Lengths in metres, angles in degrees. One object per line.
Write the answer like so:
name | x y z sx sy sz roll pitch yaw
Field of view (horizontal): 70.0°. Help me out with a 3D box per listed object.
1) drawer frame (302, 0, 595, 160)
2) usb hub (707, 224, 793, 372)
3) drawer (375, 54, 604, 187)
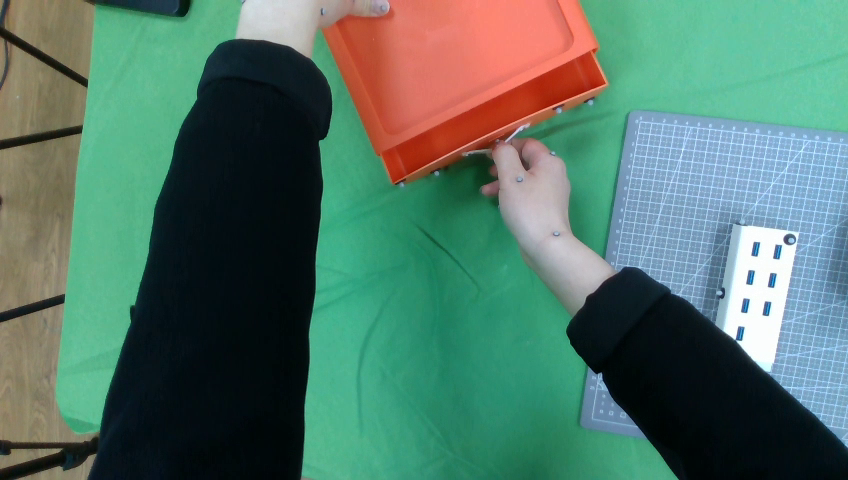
drawer frame | 0.007 -0.204 0.520 0.201 0.083 0.213 -25 91 9
usb hub | 0.287 0.051 0.536 0.049 0.025 0.125 7 97 6
drawer | 0.020 -0.177 0.525 0.194 0.073 0.211 -24 91 10
